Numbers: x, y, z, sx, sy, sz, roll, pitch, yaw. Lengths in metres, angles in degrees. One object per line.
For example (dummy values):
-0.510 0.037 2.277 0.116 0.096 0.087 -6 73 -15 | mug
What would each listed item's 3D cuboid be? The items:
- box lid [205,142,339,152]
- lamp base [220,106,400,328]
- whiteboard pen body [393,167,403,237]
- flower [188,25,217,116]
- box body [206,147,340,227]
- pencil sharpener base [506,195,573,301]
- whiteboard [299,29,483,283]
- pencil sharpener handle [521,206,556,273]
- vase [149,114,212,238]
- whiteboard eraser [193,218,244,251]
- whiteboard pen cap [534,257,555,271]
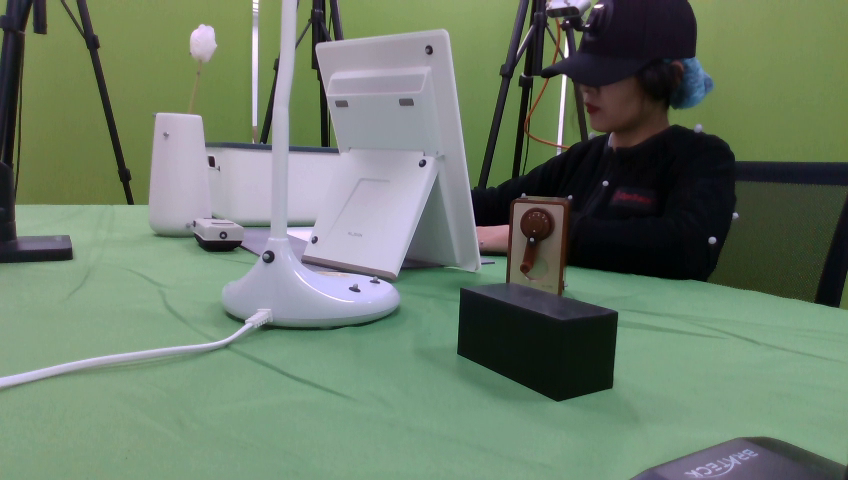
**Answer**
-0.270 -0.196 1.311 0.373 0.015 0.262 -2 9 -30 | box lid
-0.101 -0.023 0.531 0.160 0.180 0.179 4 10 10 | lamp base
-0.048 -0.070 1.116 0.017 0.140 0.017 -3 -22 -1 | whiteboard pen body
-0.394 -0.189 1.011 0.044 0.361 0.038 -1 -13 27 | flower
-0.276 -0.122 1.320 0.366 0.160 0.253 -2 9 -30 | box body
0.127 0.007 0.663 0.061 0.107 0.077 5 8 15 | pencil sharpener base
-0.074 -0.082 0.742 0.216 0.305 0.144 9 29 38 | whiteboard
0.112 0.000 0.613 0.036 0.067 0.031 13 10 14 | pencil sharpener handle
-0.405 -0.106 1.005 0.098 0.200 0.098 2 6 0 | vase
-0.307 -0.009 0.900 0.056 0.042 0.112 -4 11 -28 | whiteboard eraser
0.166 0.033 0.839 0.018 0.018 0.033 -1 6 -23 | whiteboard pen cap
